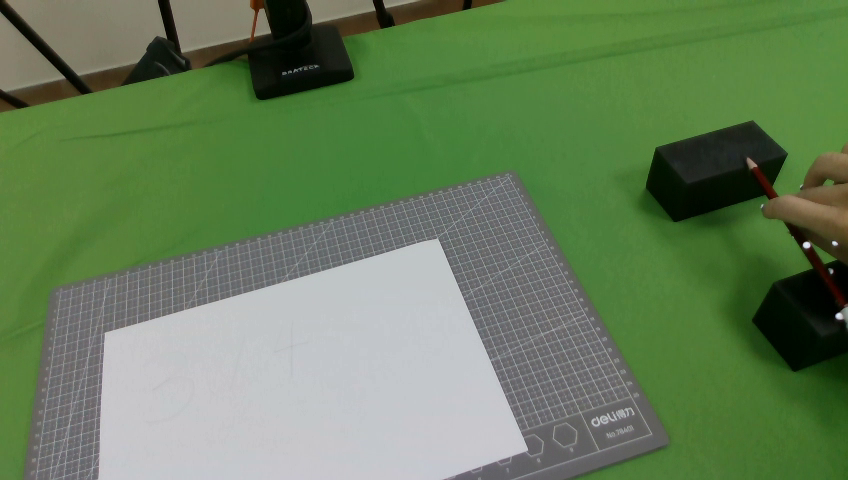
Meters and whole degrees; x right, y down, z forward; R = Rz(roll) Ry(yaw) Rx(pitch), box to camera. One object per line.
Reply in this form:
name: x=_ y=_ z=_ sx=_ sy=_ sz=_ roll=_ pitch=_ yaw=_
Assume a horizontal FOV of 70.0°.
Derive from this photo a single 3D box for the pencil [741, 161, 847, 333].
pencil: x=0.285 y=0.002 z=0.463 sx=0.012 sy=0.012 sz=0.192 roll=-7 pitch=48 yaw=0
